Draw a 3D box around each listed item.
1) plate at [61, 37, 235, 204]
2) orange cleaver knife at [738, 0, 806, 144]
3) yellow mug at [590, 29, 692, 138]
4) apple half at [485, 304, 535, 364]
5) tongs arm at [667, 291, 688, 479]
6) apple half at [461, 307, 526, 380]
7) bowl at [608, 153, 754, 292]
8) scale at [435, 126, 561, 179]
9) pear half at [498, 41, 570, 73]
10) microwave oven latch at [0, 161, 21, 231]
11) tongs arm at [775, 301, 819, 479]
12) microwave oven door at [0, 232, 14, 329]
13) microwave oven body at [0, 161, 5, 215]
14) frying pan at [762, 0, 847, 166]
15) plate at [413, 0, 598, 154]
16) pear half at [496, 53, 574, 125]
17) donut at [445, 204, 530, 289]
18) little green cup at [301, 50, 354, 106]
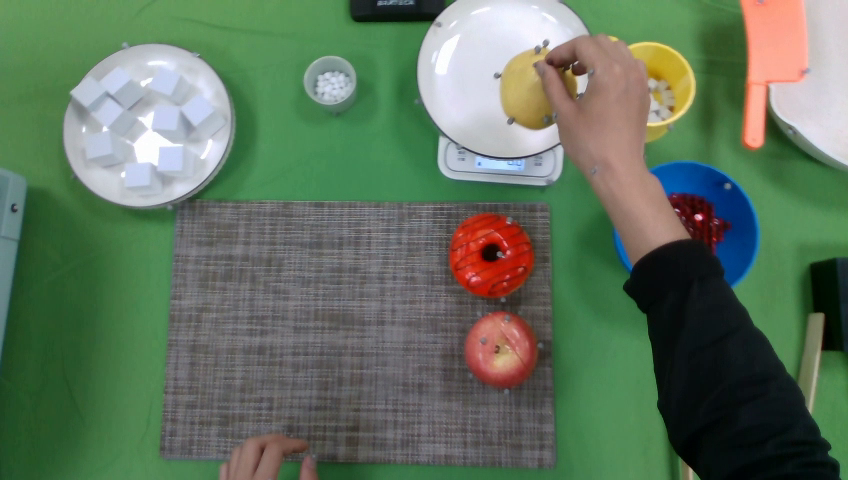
[{"bbox_3d":[-0.329,-0.142,0.737,0.207,0.039,0.207,0,82,2],"label":"plate"},{"bbox_3d":[0.381,-0.208,0.668,0.077,0.012,0.210,5,83,6],"label":"orange cleaver knife"},{"bbox_3d":[0.242,-0.191,0.708,0.100,0.064,0.130,-32,81,-2],"label":"yellow mug"},{"bbox_3d":[0.100,0.096,0.665,0.033,0.081,0.081,-37,82,1],"label":"apple half"},{"bbox_3d":[0.300,0.245,0.662,0.051,0.026,0.383,1,83,-3],"label":"tongs arm"},{"bbox_3d":[0.069,0.120,0.664,0.053,0.075,0.080,-35,84,1],"label":"apple half"},{"bbox_3d":[0.274,-0.014,0.677,0.151,0.077,0.151,0,83,2],"label":"bowl"},{"bbox_3d":[0.094,-0.177,0.729,0.148,0.031,0.200,5,83,3],"label":"scale"},{"bbox_3d":[0.107,-0.180,0.599,0.070,0.088,0.031,-12,84,2],"label":"pear half"},{"bbox_3d":[-0.498,-0.052,0.712,0.030,0.029,0.079,5,83,2],"label":"microwave oven latch"},{"bbox_3d":[0.386,0.254,0.663,0.028,0.028,0.386,16,83,-4],"label":"tongs arm"},{"bbox_3d":[-0.518,0.150,0.582,0.039,0.244,0.354,3,82,3],"label":"microwave oven door"},{"bbox_3d":[-0.661,0.101,0.599,0.326,0.261,0.440,3,83,2],"label":"microwave oven body"},{"bbox_3d":[0.563,-0.125,0.668,0.307,0.103,0.484,-26,74,-1],"label":"frying pan"},{"bbox_3d":[0.093,-0.197,0.699,0.209,0.038,0.208,0,82,2],"label":"plate"},{"bbox_3d":[0.111,-0.146,0.587,0.076,0.110,0.056,-12,83,3],"label":"pear half"},{"bbox_3d":[0.072,0.008,0.694,0.099,0.048,0.098,-1,82,5],"label":"donut"},{"bbox_3d":[-0.114,-0.194,0.736,0.061,0.039,0.061,0,81,3],"label":"little green cup"}]
